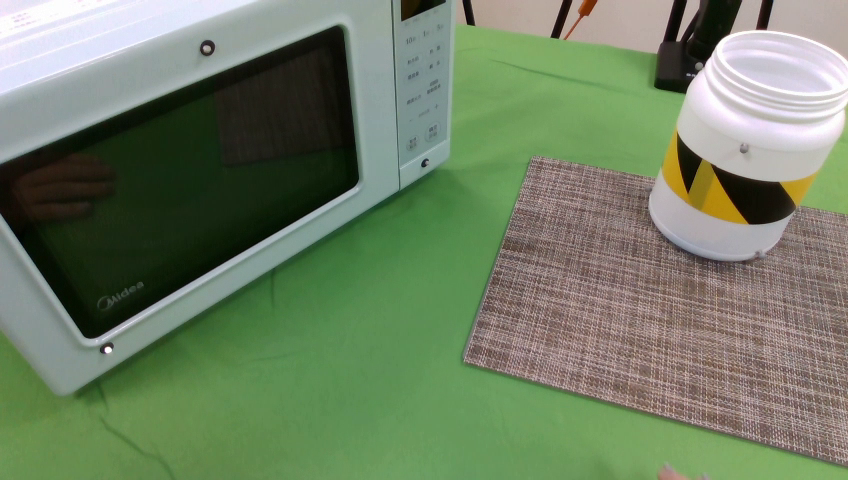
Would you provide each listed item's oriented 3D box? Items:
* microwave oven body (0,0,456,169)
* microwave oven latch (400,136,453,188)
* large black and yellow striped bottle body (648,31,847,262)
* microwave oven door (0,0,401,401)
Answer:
[{"bbox_3d":[-0.235,-0.143,0.571,0.441,0.262,0.323,-36,56,-29],"label":"microwave oven body"},{"bbox_3d":[-0.004,-0.089,0.655,0.079,0.030,0.030,-34,55,-28],"label":"microwave oven latch"},{"bbox_3d":[0.297,-0.084,0.565,0.131,0.185,0.129,0,45,0],"label":"large black and yellow striped bottle body"},{"bbox_3d":[-0.163,-0.053,0.474,0.356,0.246,0.039,-35,54,-30],"label":"microwave oven door"}]
